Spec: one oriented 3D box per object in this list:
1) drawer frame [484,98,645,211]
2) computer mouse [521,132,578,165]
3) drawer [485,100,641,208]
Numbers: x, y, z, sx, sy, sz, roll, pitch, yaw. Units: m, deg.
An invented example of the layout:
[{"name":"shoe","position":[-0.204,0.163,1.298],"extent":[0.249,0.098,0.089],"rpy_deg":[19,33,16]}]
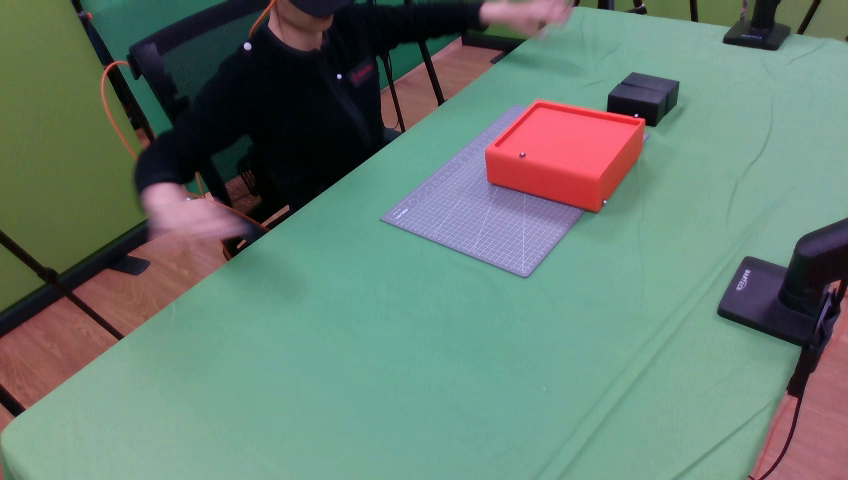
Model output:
[{"name":"drawer frame","position":[0.248,-0.158,1.070],"extent":[0.212,0.083,0.202],"rpy_deg":[20,47,29]},{"name":"computer mouse","position":[0.229,-0.172,1.096],"extent":[0.062,0.041,0.118],"rpy_deg":[22,35,34]},{"name":"drawer","position":[0.246,-0.158,1.073],"extent":[0.210,0.073,0.195],"rpy_deg":[20,48,30]}]
